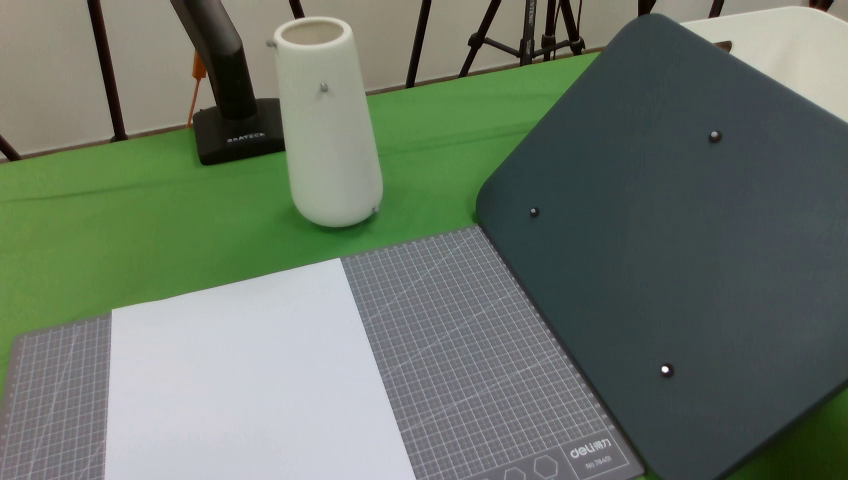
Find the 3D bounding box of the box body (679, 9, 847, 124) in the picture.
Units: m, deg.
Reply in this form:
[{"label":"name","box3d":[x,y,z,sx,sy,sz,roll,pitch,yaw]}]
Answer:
[{"label":"box body","box3d":[0.364,-0.064,0.571,0.255,0.162,0.359,-14,43,-13]}]

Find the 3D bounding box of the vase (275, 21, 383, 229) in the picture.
[{"label":"vase","box3d":[-0.096,-0.109,0.606,0.098,0.202,0.097,-2,41,2]}]

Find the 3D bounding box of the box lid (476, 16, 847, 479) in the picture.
[{"label":"box lid","box3d":[0.196,-0.018,0.499,0.015,0.263,0.367,26,23,-39]}]

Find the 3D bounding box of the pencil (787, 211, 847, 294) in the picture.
[{"label":"pencil","box3d":[0.382,0.033,0.557,0.012,0.012,0.192,-1,39,1]}]

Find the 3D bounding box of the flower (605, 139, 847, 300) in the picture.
[{"label":"flower","box3d":[0.331,-0.004,0.611,0.358,0.038,0.044,42,20,31]}]
